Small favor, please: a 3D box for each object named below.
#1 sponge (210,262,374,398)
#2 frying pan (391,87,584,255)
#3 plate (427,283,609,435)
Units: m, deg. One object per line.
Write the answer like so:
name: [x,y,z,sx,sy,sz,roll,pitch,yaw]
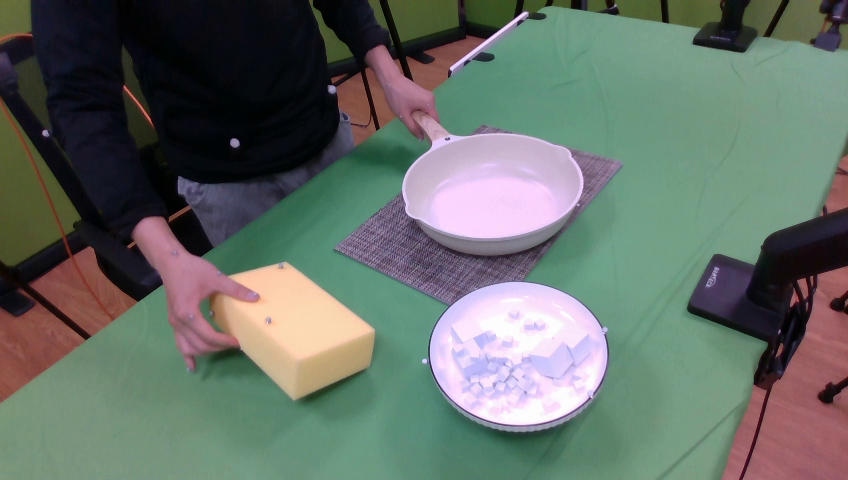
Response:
sponge: [-0.178,0.109,0.796,0.205,0.061,0.119,30,32,36]
frying pan: [0.063,-0.143,1.056,0.308,0.103,0.483,-22,51,-18]
plate: [0.108,0.137,0.708,0.207,0.039,0.206,-4,42,4]
